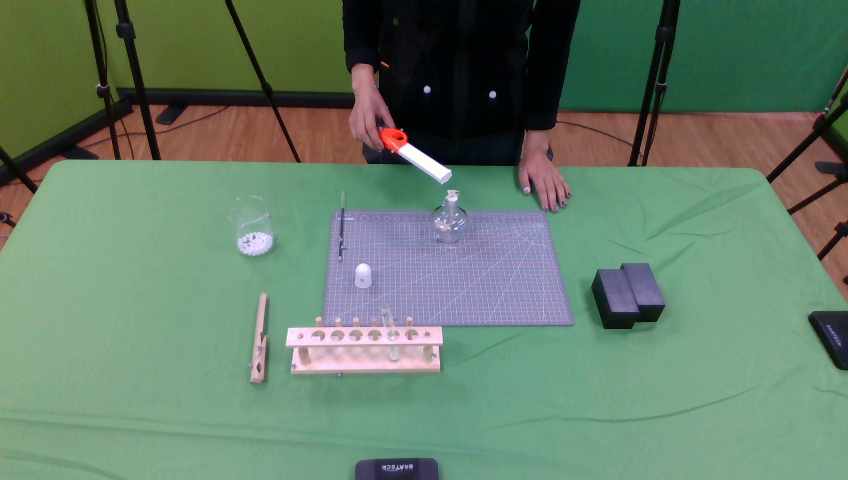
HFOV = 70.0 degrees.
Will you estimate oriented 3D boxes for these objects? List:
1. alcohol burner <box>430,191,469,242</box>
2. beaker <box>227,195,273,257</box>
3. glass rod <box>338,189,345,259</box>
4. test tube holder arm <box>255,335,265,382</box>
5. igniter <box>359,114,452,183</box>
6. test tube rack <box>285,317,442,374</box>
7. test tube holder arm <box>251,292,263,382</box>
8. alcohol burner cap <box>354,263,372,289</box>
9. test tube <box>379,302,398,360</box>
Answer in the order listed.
[{"bbox_3d":[0.052,-0.053,1.185,0.078,0.119,0.077,2,48,-2],"label":"alcohol burner"},{"bbox_3d":[-0.326,-0.022,1.142,0.074,0.101,0.083,10,47,6],"label":"beaker"},{"bbox_3d":[-0.166,-0.036,1.227,0.008,0.008,0.198,-1,46,-4],"label":"glass rod"},{"bbox_3d":[-0.270,0.193,0.997,0.010,0.015,0.087,24,36,-32],"label":"test tube holder arm"},{"bbox_3d":[-0.046,-0.191,1.226,0.057,0.025,0.275,-37,53,-20],"label":"igniter"},{"bbox_3d":[-0.095,0.166,0.988,0.242,0.085,0.066,0,46,-4],"label":"test tube rack"},{"bbox_3d":[-0.282,0.159,1.025,0.013,0.015,0.177,23,36,-33],"label":"test tube holder arm"},{"bbox_3d":[-0.113,0.063,1.111,0.034,0.048,0.033,2,46,-2],"label":"alcohol burner cap"},{"bbox_3d":[-0.054,0.145,0.943,0.017,0.151,0.017,-2,49,3],"label":"test tube"}]
